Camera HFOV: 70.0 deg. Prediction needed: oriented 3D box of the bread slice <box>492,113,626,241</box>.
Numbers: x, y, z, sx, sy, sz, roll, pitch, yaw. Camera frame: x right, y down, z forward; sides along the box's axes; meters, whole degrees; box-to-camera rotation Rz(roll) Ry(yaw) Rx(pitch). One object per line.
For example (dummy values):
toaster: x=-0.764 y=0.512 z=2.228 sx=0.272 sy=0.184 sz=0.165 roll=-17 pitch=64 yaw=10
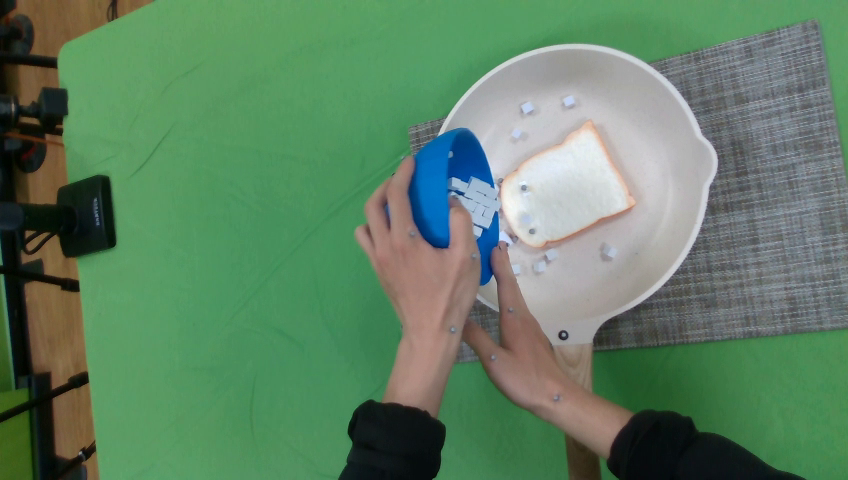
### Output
bread slice: x=0.144 y=-0.060 z=0.678 sx=0.134 sy=0.018 sz=0.106 roll=-32 pitch=78 yaw=17

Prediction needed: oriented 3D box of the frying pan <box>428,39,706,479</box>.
frying pan: x=0.141 y=0.040 z=0.636 sx=0.306 sy=0.103 sz=0.485 roll=-7 pitch=78 yaw=24

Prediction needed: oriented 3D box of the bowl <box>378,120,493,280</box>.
bowl: x=0.008 y=-0.033 z=0.578 sx=0.076 sy=0.152 sz=0.151 roll=-5 pitch=87 yaw=22
